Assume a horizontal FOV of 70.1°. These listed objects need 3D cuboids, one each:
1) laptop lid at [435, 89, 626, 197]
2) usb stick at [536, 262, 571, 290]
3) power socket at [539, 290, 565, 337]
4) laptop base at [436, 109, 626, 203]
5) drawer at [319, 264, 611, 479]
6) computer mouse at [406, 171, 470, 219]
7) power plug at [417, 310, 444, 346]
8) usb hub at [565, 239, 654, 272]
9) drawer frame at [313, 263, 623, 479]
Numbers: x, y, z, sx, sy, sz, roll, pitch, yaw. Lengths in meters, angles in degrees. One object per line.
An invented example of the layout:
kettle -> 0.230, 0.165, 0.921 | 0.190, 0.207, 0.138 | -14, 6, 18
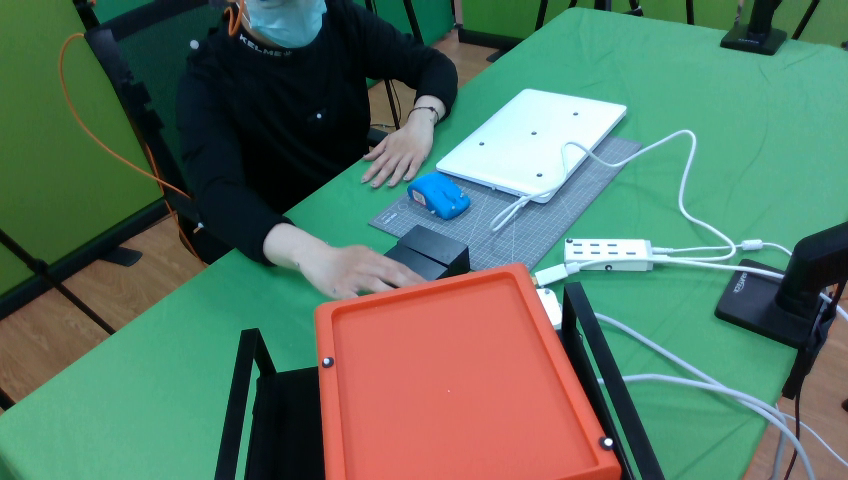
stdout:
laptop lid -> 0.211, -0.202, 1.165 | 0.240, 0.013, 0.358 | 21, 47, 32
usb stick -> 0.182, 0.056, 0.876 | 0.059, 0.021, 0.027 | -33, 1, -5
power socket -> 0.081, 0.112, 0.822 | 0.227, 0.033, 0.072 | -6, 41, 0
laptop base -> 0.214, -0.192, 1.172 | 0.233, 0.023, 0.355 | 19, 46, 32
drawer -> 0.020, 0.129, 0.497 | 0.195, 0.073, 0.210 | -11, 41, -5
computer mouse -> 0.024, -0.082, 1.049 | 0.063, 0.041, 0.116 | -30, 50, -27
power plug -> 0.007, 0.123, 0.785 | 0.035, 0.053, 0.072 | 1, 39, 8
usb hub -> 0.275, 0.022, 0.906 | 0.125, 0.025, 0.049 | 1, 41, 9
drawer frame -> 0.021, 0.130, 0.493 | 0.202, 0.083, 0.212 | -11, 41, -6
